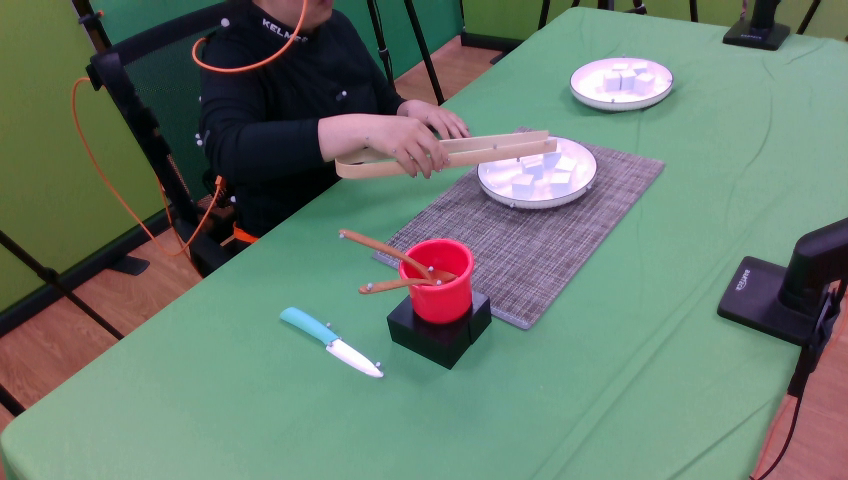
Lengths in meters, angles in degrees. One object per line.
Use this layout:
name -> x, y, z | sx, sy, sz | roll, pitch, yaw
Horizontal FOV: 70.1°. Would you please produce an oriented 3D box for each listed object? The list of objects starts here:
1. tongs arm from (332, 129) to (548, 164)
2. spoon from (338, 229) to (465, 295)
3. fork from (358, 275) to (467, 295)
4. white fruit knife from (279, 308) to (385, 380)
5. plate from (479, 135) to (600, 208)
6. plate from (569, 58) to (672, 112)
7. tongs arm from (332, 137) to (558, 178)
tongs arm -> 0.035, -0.159, 1.045 | 0.389, 0.028, 0.028 | -9, 39, -12
spoon -> -0.025, 0.026, 0.776 | 0.021, 0.195, 0.041 | -41, 34, 32
fork -> -0.009, 0.055, 0.739 | 0.028, 0.018, 0.209 | 48, 23, 26
white fruit knife -> -0.130, 0.143, 0.845 | 0.205, 0.016, 0.027 | 25, 79, 32
plate -> 0.202, -0.117, 1.065 | 0.207, 0.039, 0.206 | -5, 40, 5
plate -> 0.411, -0.323, 1.274 | 0.209, 0.038, 0.208 | -5, 41, 5
tongs arm -> 0.041, -0.144, 1.022 | 0.386, 0.026, 0.050 | -11, 36, -14
